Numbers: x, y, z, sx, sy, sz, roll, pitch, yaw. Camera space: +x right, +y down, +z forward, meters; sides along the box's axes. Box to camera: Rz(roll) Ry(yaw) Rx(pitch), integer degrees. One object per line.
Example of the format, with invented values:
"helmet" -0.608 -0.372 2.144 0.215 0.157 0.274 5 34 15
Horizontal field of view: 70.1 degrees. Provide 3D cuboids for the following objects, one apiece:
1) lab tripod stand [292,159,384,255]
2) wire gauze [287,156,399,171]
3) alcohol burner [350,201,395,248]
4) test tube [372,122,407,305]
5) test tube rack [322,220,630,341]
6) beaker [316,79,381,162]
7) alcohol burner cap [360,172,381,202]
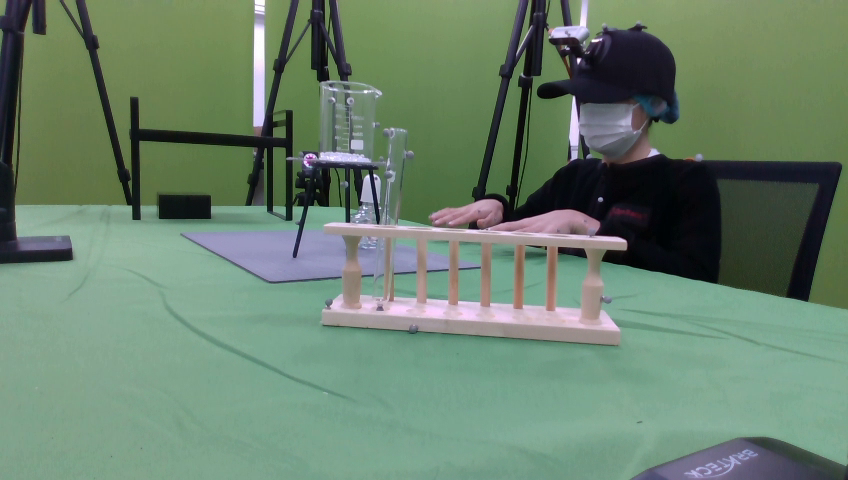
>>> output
"lab tripod stand" -0.105 -0.039 0.797 0.148 0.131 0.148 2 5 0
"wire gauze" -0.101 -0.103 0.788 0.121 0.011 0.125 5 4 6
"alcohol burner" -0.084 -0.048 0.953 0.078 0.119 0.078 1 6 0
"test tube" -0.029 -0.020 0.493 0.017 0.150 0.017 6 9 -1
"test tube rack" 0.041 0.029 0.512 0.242 0.085 0.067 3 7 5
"beaker" -0.098 -0.151 0.778 0.084 0.100 0.074 4 7 6
"alcohol burner cap" -0.081 -0.084 0.949 0.034 0.048 0.034 7 7 -1
